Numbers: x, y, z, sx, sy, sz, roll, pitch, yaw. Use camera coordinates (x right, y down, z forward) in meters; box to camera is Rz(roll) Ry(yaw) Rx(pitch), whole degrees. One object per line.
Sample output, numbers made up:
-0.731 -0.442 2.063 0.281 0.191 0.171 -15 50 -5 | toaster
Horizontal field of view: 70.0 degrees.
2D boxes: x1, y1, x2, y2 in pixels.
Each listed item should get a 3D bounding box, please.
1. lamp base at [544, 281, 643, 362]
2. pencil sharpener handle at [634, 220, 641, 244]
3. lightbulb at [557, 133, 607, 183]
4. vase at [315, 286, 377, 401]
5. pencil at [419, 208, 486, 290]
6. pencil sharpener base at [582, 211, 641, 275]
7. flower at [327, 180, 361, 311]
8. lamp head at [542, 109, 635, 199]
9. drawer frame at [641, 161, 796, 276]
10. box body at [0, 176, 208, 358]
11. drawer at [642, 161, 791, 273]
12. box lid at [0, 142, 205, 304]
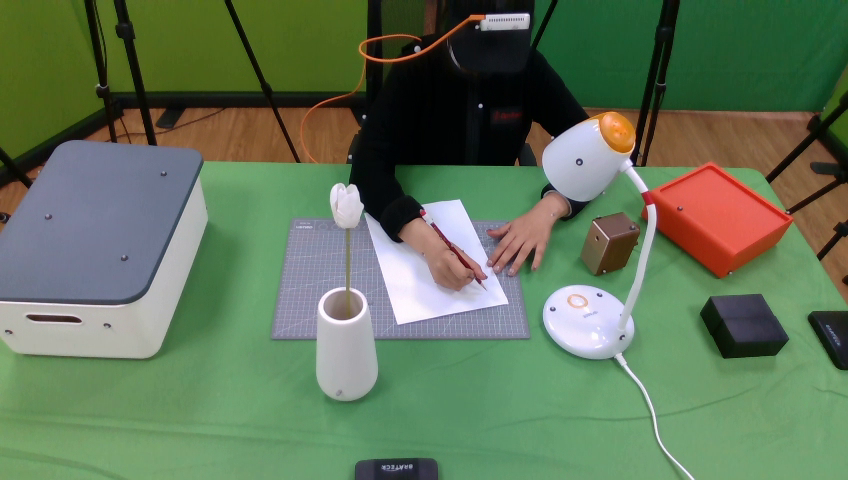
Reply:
0.303 0.095 1.014 0.161 0.181 0.178 -24 54 -24 | lamp base
0.405 -0.015 1.162 0.031 0.068 0.035 -15 46 -17 | pencil sharpener handle
0.243 -0.127 0.917 0.059 0.108 0.059 6 67 -13 | lightbulb
-0.119 0.159 0.911 0.098 0.201 0.097 2 47 -2 | vase
0.054 0.019 1.095 0.194 0.012 0.012 50 51 -13 | pencil
0.357 0.005 1.156 0.077 0.107 0.061 -15 48 -17 | pencil sharpener base
-0.111 0.086 0.867 0.044 0.363 0.038 22 33 35 | flower
0.253 -0.131 0.893 0.113 0.123 0.112 10 66 -24 | lamp head
0.599 -0.051 1.244 0.202 0.083 0.212 -24 53 -25 | drawer frame
-0.546 0.017 1.045 0.254 0.161 0.361 2 46 -2 | box body
0.596 -0.051 1.246 0.194 0.073 0.210 -23 52 -25 | drawer
-0.534 -0.044 0.995 0.263 0.015 0.369 3 45 -3 | box lid
